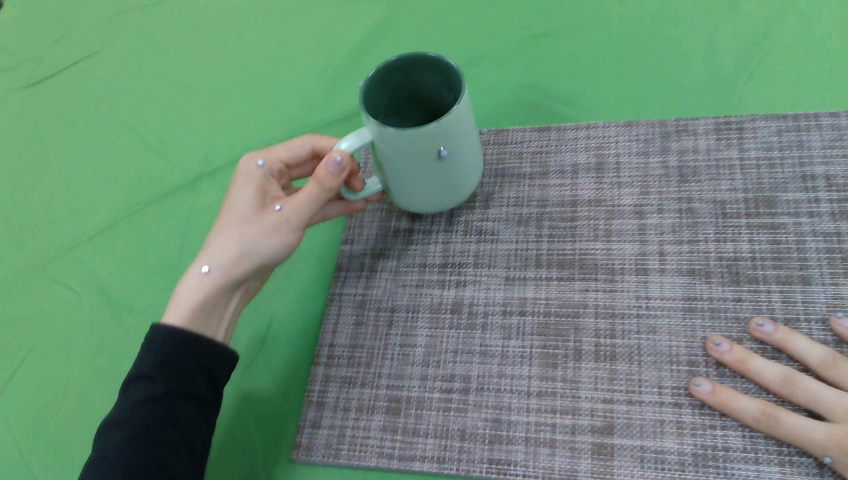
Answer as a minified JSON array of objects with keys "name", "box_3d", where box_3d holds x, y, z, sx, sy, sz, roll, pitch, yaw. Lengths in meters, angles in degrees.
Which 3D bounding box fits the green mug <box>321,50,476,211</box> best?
[{"name":"green mug","box_3d":[-0.022,-0.074,0.477,0.125,0.106,0.091,-31,60,-9]}]
